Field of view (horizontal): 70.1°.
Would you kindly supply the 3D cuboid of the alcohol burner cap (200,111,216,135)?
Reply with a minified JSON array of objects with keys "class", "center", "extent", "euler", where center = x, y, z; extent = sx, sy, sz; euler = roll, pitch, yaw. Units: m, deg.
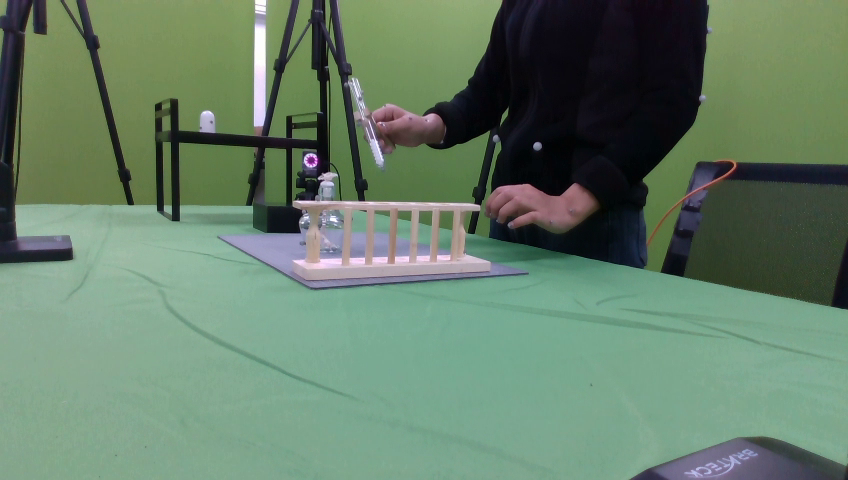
[{"class":"alcohol burner cap","center":[-0.448,-0.243,1.255],"extent":[0.034,0.048,0.034],"euler":[2,7,0]}]

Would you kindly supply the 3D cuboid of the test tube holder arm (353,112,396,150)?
[{"class":"test tube holder arm","center":[-0.079,-0.179,1.004],"extent":[0.013,0.015,0.179],"euler":[-20,-11,11]}]

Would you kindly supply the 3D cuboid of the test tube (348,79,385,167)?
[{"class":"test tube","center":[-0.089,-0.182,0.937],"extent":[0.017,0.150,0.017],"euler":[-18,-10,-3]}]

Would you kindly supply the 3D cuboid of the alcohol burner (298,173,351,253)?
[{"class":"alcohol burner","center":[-0.146,-0.040,0.894],"extent":[0.078,0.119,0.078],"euler":[5,7,0]}]

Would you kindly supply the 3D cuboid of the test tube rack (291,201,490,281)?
[{"class":"test tube rack","center":[-0.035,-0.002,0.745],"extent":[0.243,0.085,0.066],"euler":[-1,8,-28]}]

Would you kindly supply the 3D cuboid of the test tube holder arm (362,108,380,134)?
[{"class":"test tube holder arm","center":[-0.083,-0.187,0.960],"extent":[0.010,0.015,0.088],"euler":[-19,-11,3]}]
